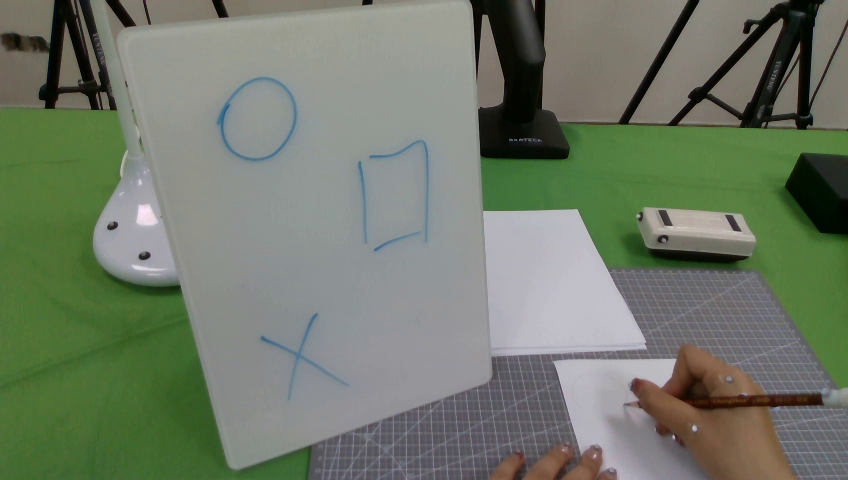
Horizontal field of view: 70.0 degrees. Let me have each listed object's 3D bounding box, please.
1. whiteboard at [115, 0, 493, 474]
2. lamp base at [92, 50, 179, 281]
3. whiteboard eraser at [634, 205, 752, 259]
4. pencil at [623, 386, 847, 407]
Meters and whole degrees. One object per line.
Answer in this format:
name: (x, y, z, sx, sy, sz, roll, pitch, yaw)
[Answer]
whiteboard: (-0.080, -0.018, 0.474, 0.218, 0.307, 0.142, -13, 23, -19)
lamp base: (-0.260, -0.078, 0.582, 0.177, 0.182, 0.160, 28, 45, 29)
whiteboard eraser: (0.292, -0.008, 0.663, 0.113, 0.042, 0.055, 5, 40, 0)
pencil: (0.209, 0.111, 0.420, 0.012, 0.194, 0.012, 8, 72, -26)
